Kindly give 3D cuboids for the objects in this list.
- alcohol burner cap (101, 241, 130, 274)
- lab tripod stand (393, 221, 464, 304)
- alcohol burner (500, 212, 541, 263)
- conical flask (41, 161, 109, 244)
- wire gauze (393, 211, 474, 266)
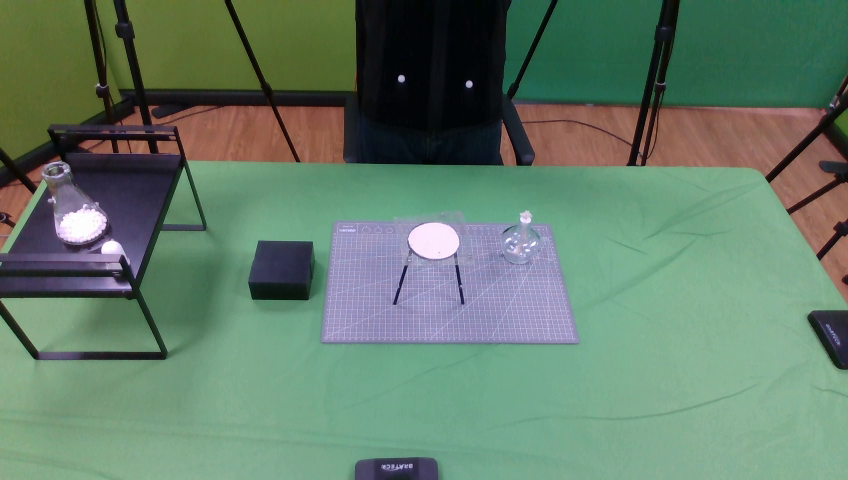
[{"bbox_3d":[-0.449,0.022,0.878,0.034,0.048,0.033,2,45,-2],"label":"alcohol burner cap"},{"bbox_3d":[0.010,0.045,1.075,0.148,0.132,0.147,2,48,-2],"label":"lab tripod stand"},{"bbox_3d":[0.187,-0.011,1.156,0.078,0.120,0.077,2,48,-2],"label":"alcohol burner"},{"bbox_3d":[-0.522,-0.058,0.894,0.075,0.122,0.075,2,46,-2],"label":"conical flask"},{"bbox_3d":[0.015,-0.003,1.028,0.125,0.011,0.120,-4,47,-7],"label":"wire gauze"}]
